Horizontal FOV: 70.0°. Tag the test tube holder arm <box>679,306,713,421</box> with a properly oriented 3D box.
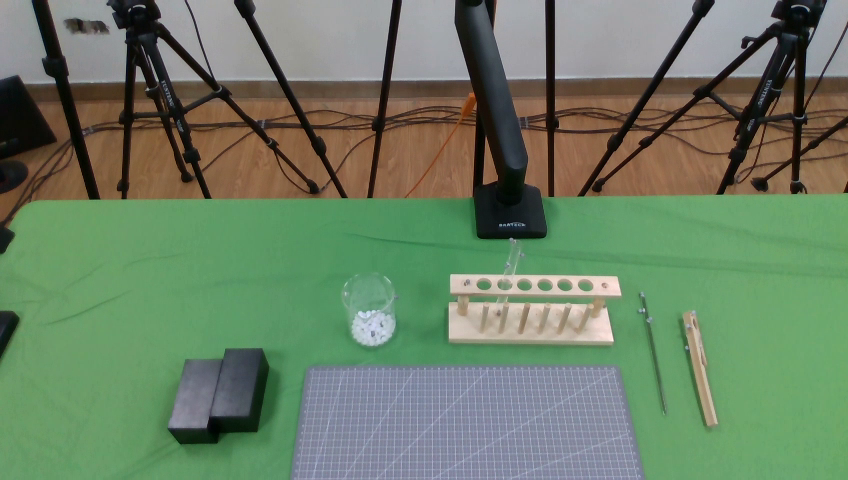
[{"bbox_3d":[0.389,0.173,0.868,0.013,0.015,0.177,24,48,-18],"label":"test tube holder arm"}]

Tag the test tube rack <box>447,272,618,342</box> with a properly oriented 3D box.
[{"bbox_3d":[0.155,0.099,0.890,0.242,0.086,0.066,1,50,0],"label":"test tube rack"}]

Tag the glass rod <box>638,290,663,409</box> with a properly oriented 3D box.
[{"bbox_3d":[0.332,0.155,0.893,0.008,0.008,0.198,4,50,3],"label":"glass rod"}]

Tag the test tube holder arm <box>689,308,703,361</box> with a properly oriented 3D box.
[{"bbox_3d":[0.399,0.141,0.899,0.010,0.015,0.087,24,48,-18],"label":"test tube holder arm"}]

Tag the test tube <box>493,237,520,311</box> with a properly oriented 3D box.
[{"bbox_3d":[0.116,0.052,0.864,0.017,0.151,0.017,3,46,-3],"label":"test tube"}]

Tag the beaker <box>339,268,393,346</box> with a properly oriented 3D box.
[{"bbox_3d":[-0.081,0.103,0.877,0.074,0.101,0.083,2,51,2],"label":"beaker"}]
